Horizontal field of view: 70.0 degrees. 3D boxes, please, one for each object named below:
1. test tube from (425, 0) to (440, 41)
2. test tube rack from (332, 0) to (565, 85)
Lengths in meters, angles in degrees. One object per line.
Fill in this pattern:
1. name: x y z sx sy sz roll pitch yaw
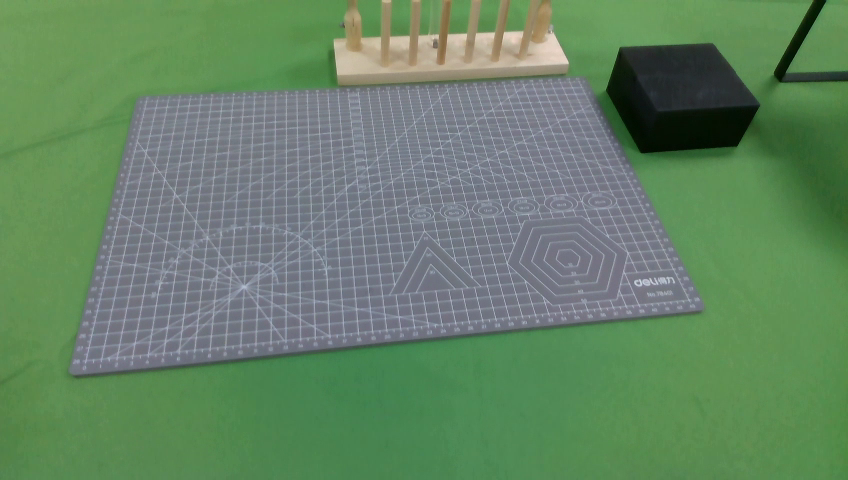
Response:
1. test tube: 0.010 -0.264 0.590 0.017 0.151 0.017 1 48 0
2. test tube rack: 0.027 -0.220 0.619 0.243 0.086 0.066 -5 51 -8
